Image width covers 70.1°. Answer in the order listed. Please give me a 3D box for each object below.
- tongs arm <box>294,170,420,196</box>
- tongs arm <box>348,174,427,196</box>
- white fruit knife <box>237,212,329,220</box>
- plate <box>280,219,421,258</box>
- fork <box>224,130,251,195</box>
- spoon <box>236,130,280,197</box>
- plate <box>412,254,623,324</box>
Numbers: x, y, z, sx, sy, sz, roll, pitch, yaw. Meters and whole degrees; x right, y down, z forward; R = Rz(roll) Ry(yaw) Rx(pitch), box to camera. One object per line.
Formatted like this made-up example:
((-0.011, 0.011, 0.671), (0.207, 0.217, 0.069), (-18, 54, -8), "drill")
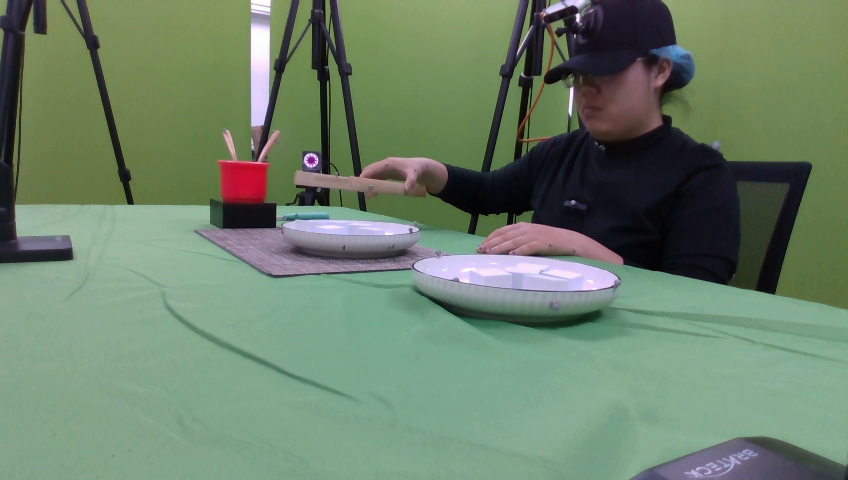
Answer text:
((-0.116, -0.111, 1.215), (0.050, 0.026, 0.386), (5, 3, 27), "tongs arm")
((-0.060, -0.104, 1.189), (0.028, 0.028, 0.389), (1, 2, 20), "tongs arm")
((-0.304, -0.050, 1.328), (0.208, 0.016, 0.027), (-3, -19, -29), "white fruit knife")
((-0.108, -0.002, 0.902), (0.208, 0.039, 0.207), (3, 7, 0), "plate")
((-0.372, -0.155, 1.193), (0.028, 0.018, 0.206), (-17, 54, -13), "fork")
((-0.321, -0.154, 1.192), (0.041, 0.193, 0.022), (0, -37, 19), "spoon")
((0.091, 0.047, 0.609), (0.209, 0.038, 0.209), (2, 7, 0), "plate")
